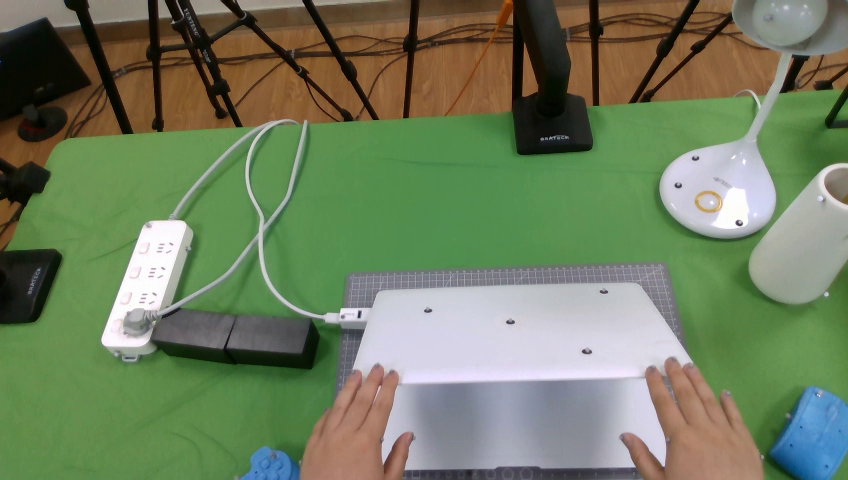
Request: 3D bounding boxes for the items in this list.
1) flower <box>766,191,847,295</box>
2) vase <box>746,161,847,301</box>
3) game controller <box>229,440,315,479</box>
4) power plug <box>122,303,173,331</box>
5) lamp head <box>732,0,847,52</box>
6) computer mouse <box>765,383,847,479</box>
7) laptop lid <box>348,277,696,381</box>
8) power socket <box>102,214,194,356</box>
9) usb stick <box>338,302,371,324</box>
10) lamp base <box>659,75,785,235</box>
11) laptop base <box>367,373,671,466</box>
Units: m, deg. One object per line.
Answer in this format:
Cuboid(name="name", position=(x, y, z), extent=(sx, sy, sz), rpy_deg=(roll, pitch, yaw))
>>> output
Cuboid(name="flower", position=(0.478, -0.060, 0.670), extent=(0.038, 0.364, 0.043), rpy_deg=(-5, 45, -18))
Cuboid(name="vase", position=(0.469, -0.007, 0.735), extent=(0.098, 0.202, 0.097), rpy_deg=(-3, 55, 5))
Cuboid(name="game controller", position=(-0.204, 0.300, 0.688), extent=(0.155, 0.052, 0.096), rpy_deg=(-35, 58, -17))
Cuboid(name="power plug", position=(-0.369, 0.108, 0.814), extent=(0.072, 0.053, 0.035), rpy_deg=(10, 58, 9))
Cuboid(name="lamp head", position=(0.362, -0.251, 0.557), extent=(0.112, 0.113, 0.122), rpy_deg=(25, 80, 20))
Cuboid(name="computer mouse", position=(0.444, 0.215, 0.688), extent=(0.062, 0.041, 0.117), rpy_deg=(36, 61, 28))
Cuboid(name="laptop lid", position=(0.102, 0.096, 0.711), extent=(0.356, 0.013, 0.240), rpy_deg=(-2, 19, 6))
Cuboid(name="power socket", position=(-0.393, 0.056, 0.873), extent=(0.072, 0.033, 0.224), rpy_deg=(1, 56, 5))
Cuboid(name="usb stick", position=(-0.084, 0.098, 0.809), extent=(0.059, 0.027, 0.021), rpy_deg=(-1, 53, 2))
Cuboid(name="lamp base", position=(0.427, -0.126, 0.828), extent=(0.159, 0.182, 0.178), rpy_deg=(28, 61, 21))
Cuboid(name="laptop base", position=(0.109, 0.163, 0.766), extent=(0.354, 0.023, 0.233), rpy_deg=(-2, 60, 4))
